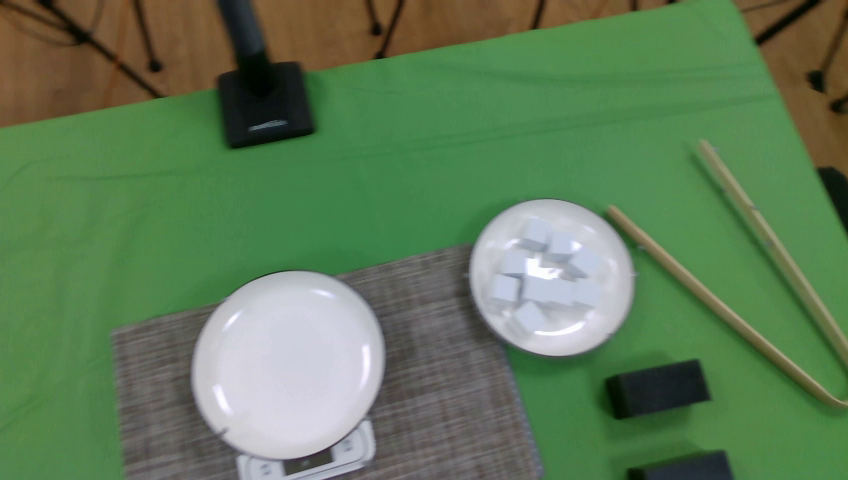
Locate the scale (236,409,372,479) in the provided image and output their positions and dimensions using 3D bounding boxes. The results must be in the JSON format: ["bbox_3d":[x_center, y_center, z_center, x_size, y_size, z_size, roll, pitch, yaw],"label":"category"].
[{"bbox_3d":[-0.152,0.171,0.702,0.149,0.032,0.199,-13,73,-9],"label":"scale"}]

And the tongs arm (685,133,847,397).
[{"bbox_3d":[0.446,0.025,0.796,0.051,0.026,0.382,-29,77,-12],"label":"tongs arm"}]

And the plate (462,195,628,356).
[{"bbox_3d":[0.150,0.045,0.768,0.208,0.039,0.206,1,71,-4],"label":"plate"}]

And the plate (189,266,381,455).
[{"bbox_3d":[-0.152,0.132,0.680,0.209,0.038,0.207,2,71,-4],"label":"plate"}]

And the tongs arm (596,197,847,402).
[{"bbox_3d":[0.374,0.075,0.779,0.386,0.028,0.028,43,71,10],"label":"tongs arm"}]
